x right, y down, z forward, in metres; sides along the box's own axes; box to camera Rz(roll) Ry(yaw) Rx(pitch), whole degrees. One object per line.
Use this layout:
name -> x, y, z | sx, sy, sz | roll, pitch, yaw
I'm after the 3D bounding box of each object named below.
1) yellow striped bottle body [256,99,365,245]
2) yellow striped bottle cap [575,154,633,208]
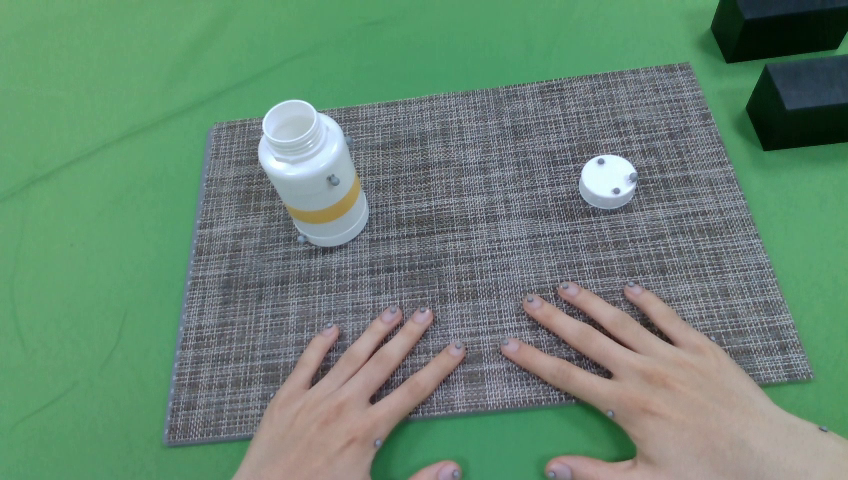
yellow striped bottle body -> -0.087, -0.052, 0.462 | 0.063, 0.121, 0.062 | -3, 59, 6
yellow striped bottle cap -> 0.147, -0.048, 0.493 | 0.044, 0.019, 0.044 | -2, 58, 4
